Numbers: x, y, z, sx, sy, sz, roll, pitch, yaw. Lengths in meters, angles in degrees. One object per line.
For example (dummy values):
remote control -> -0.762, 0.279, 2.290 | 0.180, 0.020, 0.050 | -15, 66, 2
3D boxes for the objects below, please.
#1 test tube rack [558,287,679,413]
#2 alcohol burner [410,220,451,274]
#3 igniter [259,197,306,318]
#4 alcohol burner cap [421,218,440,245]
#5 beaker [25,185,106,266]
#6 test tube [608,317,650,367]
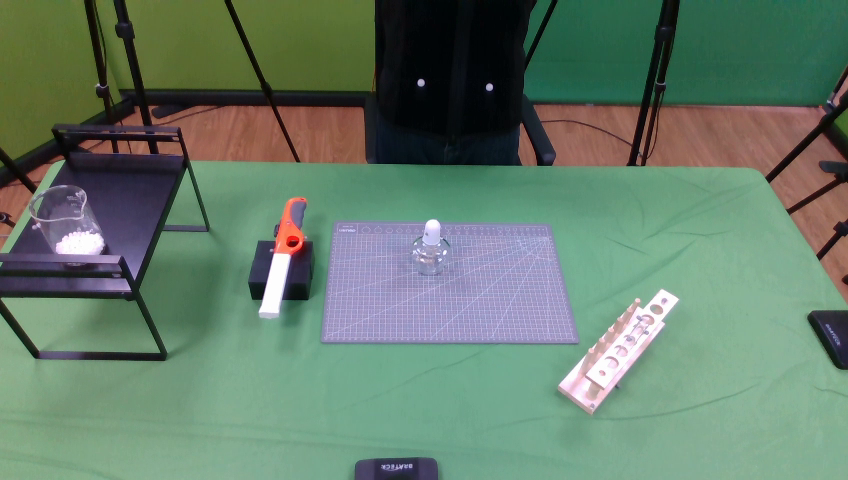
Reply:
test tube rack -> 0.326, 0.170, 1.009 | 0.066, 0.085, 0.242 | 36, 54, 27
alcohol burner -> 0.013, 0.007, 1.120 | 0.078, 0.120, 0.077 | 1, 48, -1
igniter -> -0.252, 0.021, 1.088 | 0.057, 0.025, 0.275 | 4, 48, -2
alcohol burner cap -> 0.014, -0.018, 1.095 | 0.034, 0.048, 0.033 | 5, 44, -5
beaker -> -0.507, -0.017, 0.871 | 0.084, 0.101, 0.074 | 23, 49, 17
test tube -> 0.314, 0.168, 0.942 | 0.017, 0.151, 0.017 | 5, 48, -5
